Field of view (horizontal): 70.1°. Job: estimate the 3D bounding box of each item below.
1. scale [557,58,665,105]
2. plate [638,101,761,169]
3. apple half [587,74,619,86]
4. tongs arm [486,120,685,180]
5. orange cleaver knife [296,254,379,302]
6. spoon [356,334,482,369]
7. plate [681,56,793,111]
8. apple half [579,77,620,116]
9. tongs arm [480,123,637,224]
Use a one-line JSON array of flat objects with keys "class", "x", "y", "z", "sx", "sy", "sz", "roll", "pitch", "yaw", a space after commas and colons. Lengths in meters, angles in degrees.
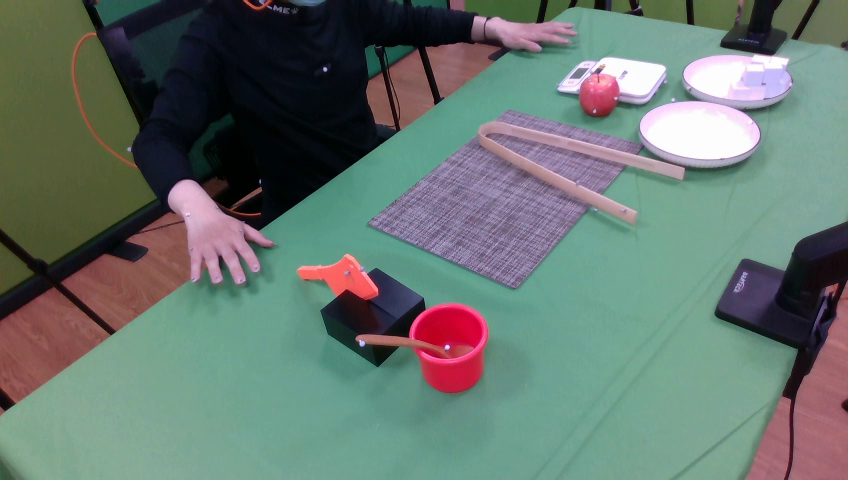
[{"class": "scale", "x": 0.407, "y": -0.348, "z": 1.314, "sx": 0.199, "sy": 0.032, "sz": 0.149, "roll": 19, "pitch": 47, "yaw": 28}, {"class": "plate", "x": 0.500, "y": -0.189, "z": 1.111, "sx": 0.209, "sy": 0.038, "sz": 0.208, "roll": -4, "pitch": 41, "yaw": 4}, {"class": "apple half", "x": 0.366, "y": -0.310, "z": 1.243, "sx": 0.081, "sy": 0.081, "sz": 0.033, "roll": 15, "pitch": 49, "yaw": 24}, {"class": "tongs arm", "x": 0.287, "y": -0.171, "z": 1.123, "sx": 0.384, "sy": 0.028, "sz": 0.028, "roll": 21, "pitch": 52, "yaw": 29}, {"class": "orange cleaver knife", "x": -0.129, "y": 0.059, "z": 0.874, "sx": 0.012, "sy": 0.077, "sz": 0.210, "roll": -39, "pitch": 17, "yaw": -30}, {"class": "spoon", "x": -0.001, "y": 0.130, "z": 0.731, "sx": 0.195, "sy": 0.021, "sz": 0.041, "roll": 21, "pitch": 27, "yaw": -39}, {"class": "plate", "x": 0.636, "y": -0.317, "z": 1.239, "sx": 0.207, "sy": 0.039, "sz": 0.206, "roll": -4, "pitch": 40, "yaw": 4}, {"class": "apple half", "x": 0.348, "y": -0.285, "z": 1.218, "sx": 0.080, "sy": 0.075, "sz": 0.053, "roll": 17, "pitch": 49, "yaw": 22}, {"class": "tongs arm", "x": 0.228, "y": -0.128, "z": 1.080, "sx": 0.051, "sy": 0.026, "sz": 0.381, "roll": -33, "pitch": 46, "yaw": -26}]
